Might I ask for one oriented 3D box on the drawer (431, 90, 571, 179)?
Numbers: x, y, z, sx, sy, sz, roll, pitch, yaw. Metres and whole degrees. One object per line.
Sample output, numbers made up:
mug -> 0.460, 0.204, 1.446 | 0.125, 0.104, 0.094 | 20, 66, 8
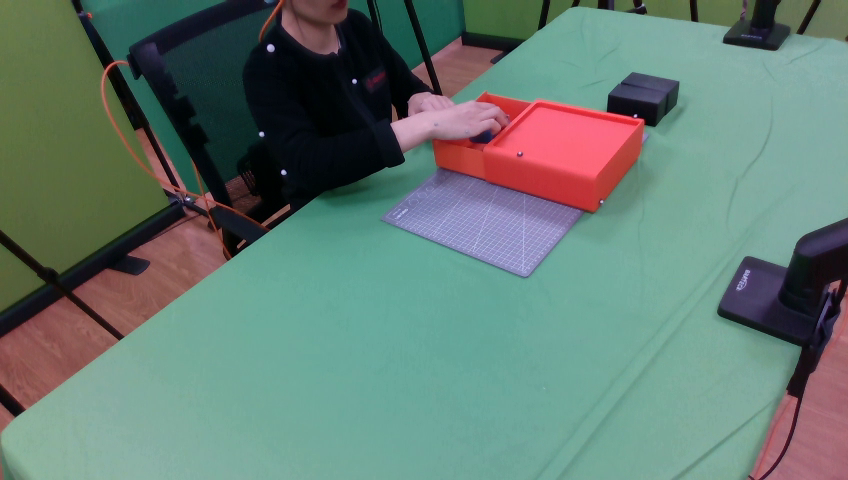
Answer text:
drawer -> 0.154, -0.192, 1.131 | 0.210, 0.073, 0.195 | 21, 48, 31

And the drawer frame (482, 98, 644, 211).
drawer frame -> 0.245, -0.158, 1.071 | 0.212, 0.083, 0.202 | 21, 48, 30

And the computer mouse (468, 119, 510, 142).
computer mouse -> 0.138, -0.211, 1.151 | 0.062, 0.041, 0.118 | 8, 17, 41
